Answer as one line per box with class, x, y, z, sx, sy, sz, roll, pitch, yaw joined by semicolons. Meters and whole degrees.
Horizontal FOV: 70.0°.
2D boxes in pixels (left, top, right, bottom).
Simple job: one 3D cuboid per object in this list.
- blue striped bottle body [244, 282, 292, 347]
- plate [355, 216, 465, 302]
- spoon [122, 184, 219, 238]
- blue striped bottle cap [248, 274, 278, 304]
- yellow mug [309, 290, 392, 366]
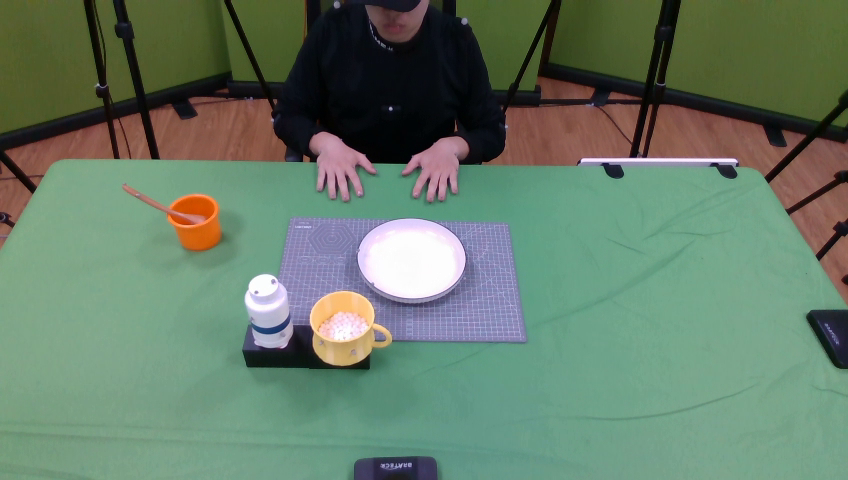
blue striped bottle body;-0.241;0.108;0.937;0.063;0.121;0.062;2;46;-2
plate;-0.027;0.039;1.144;0.208;0.039;0.206;2;46;-2
spoon;-0.463;-0.053;1.118;0.195;0.021;0.041;28;37;-35
blue striped bottle cap;-0.239;0.072;0.900;0.044;0.021;0.044;4;46;-4
yellow mug;-0.114;0.141;0.954;0.131;0.064;0.099;12;47;6
